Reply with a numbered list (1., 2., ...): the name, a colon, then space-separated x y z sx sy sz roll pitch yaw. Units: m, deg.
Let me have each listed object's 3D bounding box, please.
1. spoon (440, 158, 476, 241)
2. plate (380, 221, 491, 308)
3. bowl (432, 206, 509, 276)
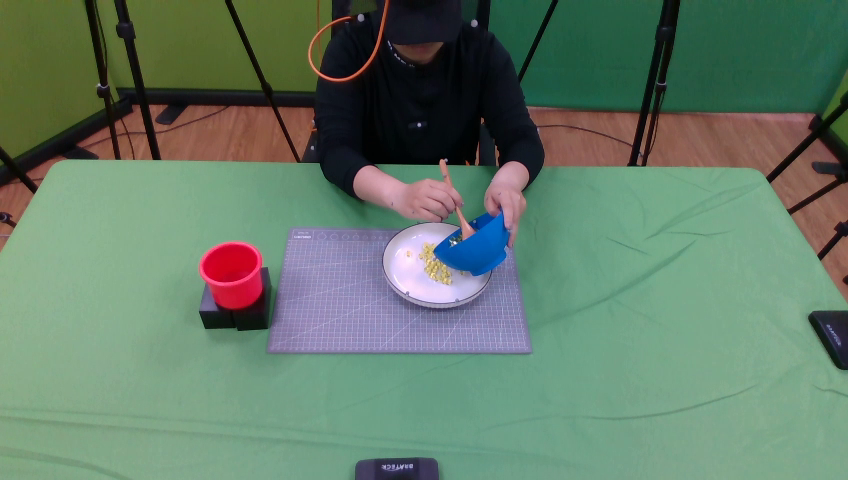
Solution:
1. spoon: 0.062 -0.055 1.078 0.041 0.021 0.193 -19 84 -21
2. plate: 0.022 0.048 1.138 0.208 0.039 0.206 2 46 -2
3. bowl: 0.098 0.012 1.083 0.151 0.151 0.077 -39 101 -33
